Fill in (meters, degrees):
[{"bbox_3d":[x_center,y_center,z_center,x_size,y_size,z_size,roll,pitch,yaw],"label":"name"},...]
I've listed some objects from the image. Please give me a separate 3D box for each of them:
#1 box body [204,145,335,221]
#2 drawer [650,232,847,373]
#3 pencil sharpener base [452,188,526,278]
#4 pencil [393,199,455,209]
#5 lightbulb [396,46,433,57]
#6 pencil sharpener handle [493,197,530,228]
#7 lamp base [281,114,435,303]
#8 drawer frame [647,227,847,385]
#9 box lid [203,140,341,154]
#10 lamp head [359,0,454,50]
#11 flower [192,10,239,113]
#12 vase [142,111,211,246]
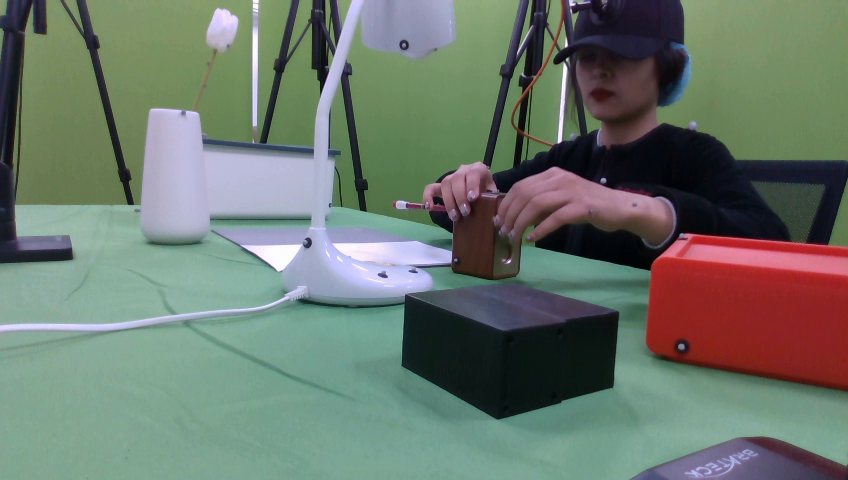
[{"bbox_3d":[-0.411,-0.135,1.386,0.366,0.160,0.253,-2,9,-29],"label":"box body"},{"bbox_3d":[0.303,0.044,0.499,0.194,0.073,0.212,6,9,27],"label":"drawer"},{"bbox_3d":[0.084,-0.011,0.764,0.076,0.107,0.062,9,10,43],"label":"pencil sharpener base"},{"bbox_3d":[0.026,-0.046,0.816,0.193,0.012,0.012,7,9,44],"label":"pencil"},{"bbox_3d":[-0.018,-0.265,0.692,0.059,0.108,0.059,-10,28,5],"label":"lightbulb"},{"bbox_3d":[0.111,-0.028,0.716,0.030,0.036,0.068,9,24,43],"label":"pencil sharpener handle"},{"bbox_3d":[-0.071,-0.035,0.614,0.160,0.180,0.180,6,10,27],"label":"lamp base"},{"bbox_3d":[0.303,0.043,0.495,0.201,0.082,0.214,6,9,26],"label":"drawer frame"},{"bbox_3d":[-0.396,-0.212,1.373,0.373,0.015,0.262,-1,9,-29],"label":"box lid"},{"bbox_3d":[-0.024,-0.283,0.674,0.112,0.123,0.112,-3,38,3],"label":"lamp head"},{"bbox_3d":[-0.354,-0.174,0.915,0.038,0.361,0.044,18,-4,12],"label":"flower"},{"bbox_3d":[-0.378,-0.093,0.920,0.098,0.200,0.098,2,9,0],"label":"vase"}]
